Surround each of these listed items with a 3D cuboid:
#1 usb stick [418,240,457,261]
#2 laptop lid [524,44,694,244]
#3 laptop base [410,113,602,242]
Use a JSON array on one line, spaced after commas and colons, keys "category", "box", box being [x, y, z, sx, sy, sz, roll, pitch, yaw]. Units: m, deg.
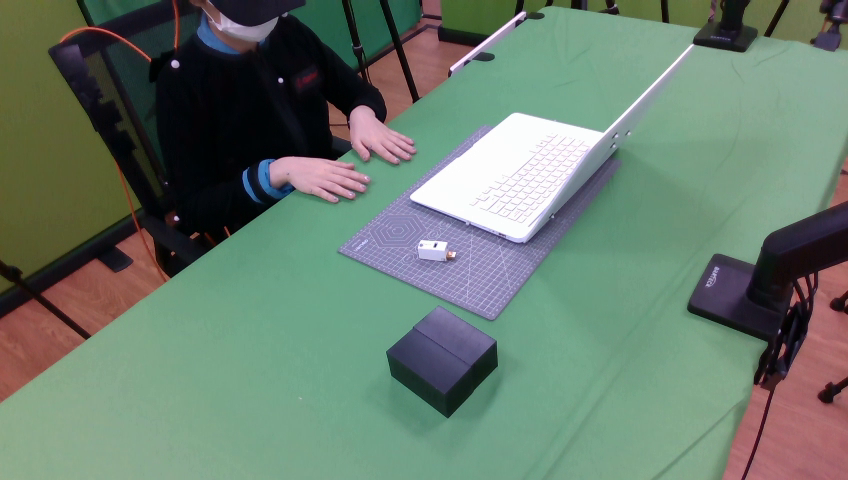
[{"category": "usb stick", "box": [0.021, 0.017, 0.938, 0.059, 0.027, 0.021, 8, 41, 13]}, {"category": "laptop lid", "box": [0.290, -0.151, 0.941, 0.013, 0.241, 0.358, 40, 54, 12]}, {"category": "laptop base", "box": [0.171, -0.127, 1.096, 0.233, 0.023, 0.355, 21, 47, 34]}]
